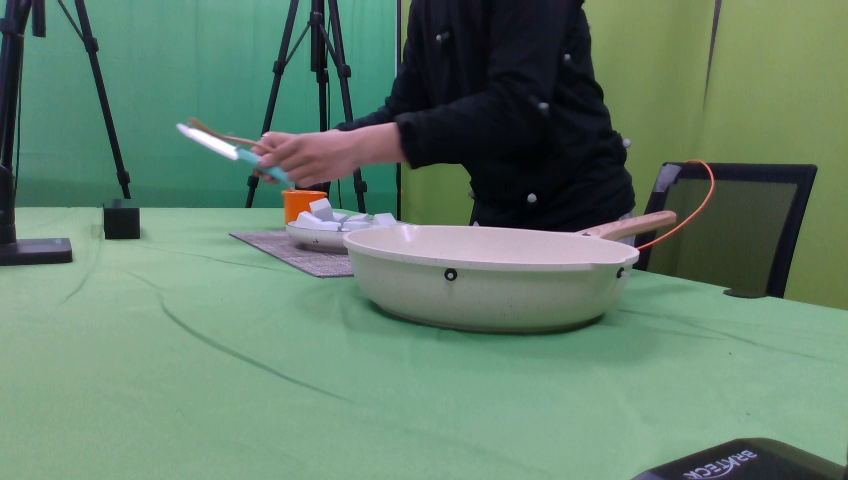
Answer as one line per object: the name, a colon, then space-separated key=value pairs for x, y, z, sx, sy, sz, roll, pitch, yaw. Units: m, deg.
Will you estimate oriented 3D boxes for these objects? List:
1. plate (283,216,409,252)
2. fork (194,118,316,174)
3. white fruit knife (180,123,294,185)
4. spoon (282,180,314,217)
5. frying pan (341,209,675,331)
plate: x=-0.119 y=-0.009 z=0.968 sx=0.208 sy=0.039 sz=0.207 roll=2 pitch=7 yaw=0
fork: x=-0.254 y=-0.141 z=0.927 sx=0.208 sy=0.018 sz=0.028 roll=18 pitch=8 yaw=-39
white fruit knife: x=-0.314 y=-0.148 z=1.031 sx=0.208 sy=0.027 sz=0.016 roll=26 pitch=-29 yaw=-30
spoon: x=-0.276 y=-0.103 z=1.251 sx=0.021 sy=0.193 sz=0.042 roll=-42 pitch=-15 yaw=21
frying pan: x=0.144 y=0.008 z=0.677 sx=0.490 sy=0.102 sz=0.305 roll=-13 pitch=16 yaw=-36
